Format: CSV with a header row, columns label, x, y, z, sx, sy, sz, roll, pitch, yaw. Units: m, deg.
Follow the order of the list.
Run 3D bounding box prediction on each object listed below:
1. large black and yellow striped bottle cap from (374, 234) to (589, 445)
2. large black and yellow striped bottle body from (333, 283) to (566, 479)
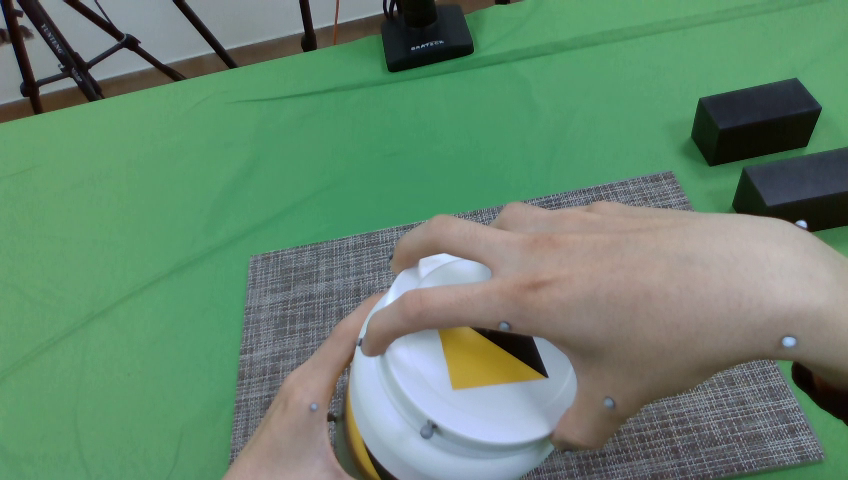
label,x,y,z,sx,sy,sz,roll,pitch,yaw
large black and yellow striped bottle cap,0.031,0.048,0.320,0.115,0.019,0.114,6,57,-9
large black and yellow striped bottle body,0.013,0.094,0.389,0.131,0.185,0.129,7,56,-10
